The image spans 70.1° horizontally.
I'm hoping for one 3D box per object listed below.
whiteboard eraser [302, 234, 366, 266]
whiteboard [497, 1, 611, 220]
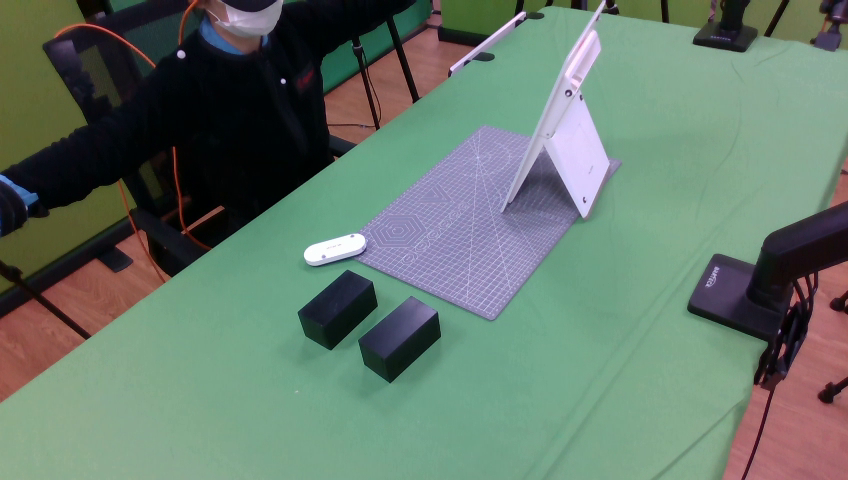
[{"bbox_3d":[-0.144,0.015,0.970,0.101,0.019,0.041,-15,42,-6],"label":"whiteboard eraser"},{"bbox_3d":[0.259,-0.177,0.963,0.143,0.306,0.217,28,48,9],"label":"whiteboard"}]
